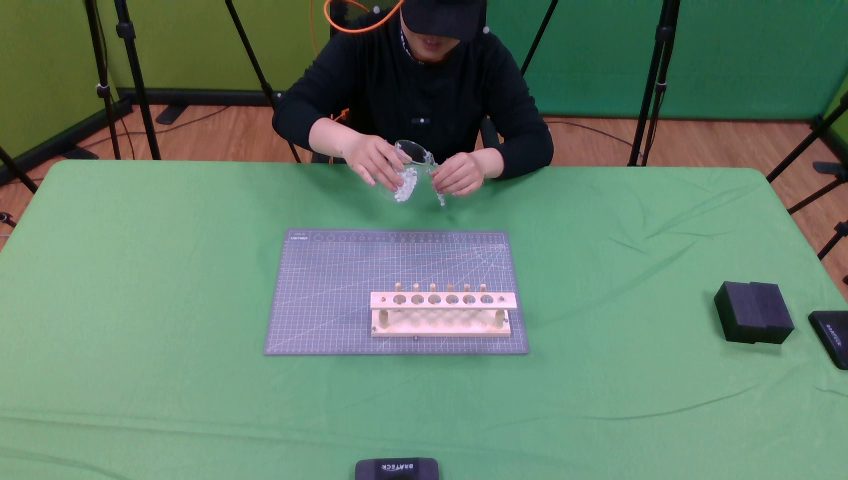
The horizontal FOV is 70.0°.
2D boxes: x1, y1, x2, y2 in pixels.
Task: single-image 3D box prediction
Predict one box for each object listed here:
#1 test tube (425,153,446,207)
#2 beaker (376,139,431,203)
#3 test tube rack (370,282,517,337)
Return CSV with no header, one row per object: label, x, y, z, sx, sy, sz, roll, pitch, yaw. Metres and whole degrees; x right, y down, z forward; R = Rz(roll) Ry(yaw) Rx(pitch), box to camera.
test tube,0.024,-0.115,1.198,0.017,0.151,0.017,-7,52,10
beaker,-0.039,-0.126,1.135,0.084,0.100,0.073,-5,47,-42
test tube rack,0.030,0.116,1.041,0.242,0.085,0.066,1,46,-4
